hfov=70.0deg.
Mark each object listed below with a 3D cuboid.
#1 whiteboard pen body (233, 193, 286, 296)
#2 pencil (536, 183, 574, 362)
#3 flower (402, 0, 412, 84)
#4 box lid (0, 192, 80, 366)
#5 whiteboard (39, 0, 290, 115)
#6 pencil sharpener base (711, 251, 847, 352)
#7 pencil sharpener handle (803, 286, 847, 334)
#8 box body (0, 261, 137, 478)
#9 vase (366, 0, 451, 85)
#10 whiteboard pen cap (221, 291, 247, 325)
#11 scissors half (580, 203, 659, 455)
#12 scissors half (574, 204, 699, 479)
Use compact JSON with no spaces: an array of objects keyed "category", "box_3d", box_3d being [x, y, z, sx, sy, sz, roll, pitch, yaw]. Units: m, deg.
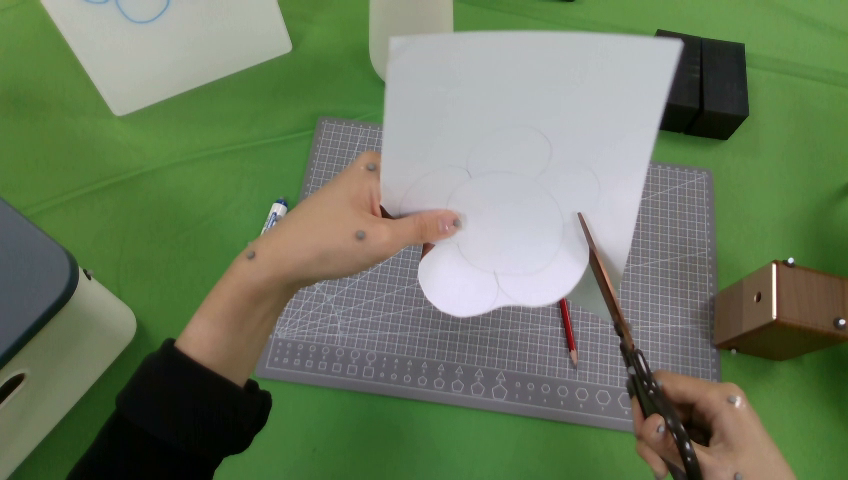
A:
[{"category":"whiteboard pen body","box_3d":[-0.171,0.014,0.619,0.017,0.017,0.140,14,67,4]},{"category":"pencil","box_3d":[0.137,0.030,0.628,0.012,0.012,0.192,-5,71,-4]},{"category":"flower","box_3d":[-0.020,-0.299,0.562,0.044,0.365,0.038,1,50,2]},{"category":"box lid","box_3d":[-0.475,0.016,0.451,0.370,0.015,0.262,33,71,10]},{"category":"whiteboard","box_3d":[-0.303,-0.328,0.628,0.217,0.308,0.142,-25,52,-11]},{"category":"pencil sharpener base","box_3d":[0.332,0.062,0.570,0.077,0.107,0.061,12,68,0]},{"category":"pencil sharpener handle","box_3d":[0.383,0.069,0.559,0.030,0.068,0.035,12,63,0]},{"category":"box body","box_3d":[-0.475,0.045,0.520,0.363,0.161,0.253,33,71,10]},{"category":"vase","box_3d":[-0.017,-0.254,0.634,0.098,0.201,0.097,0,67,0]},{"category":"whiteboard pen cap","box_3d":[-0.185,0.066,0.596,0.018,0.018,0.033,14,64,4]},{"category":"scissors half","box_3d":[0.121,0.057,0.372,0.013,0.040,0.176,-20,109,4]},{"category":"scissors half","box_3d":[0.121,0.060,0.351,0.013,0.040,0.174,-21,84,-1]}]
